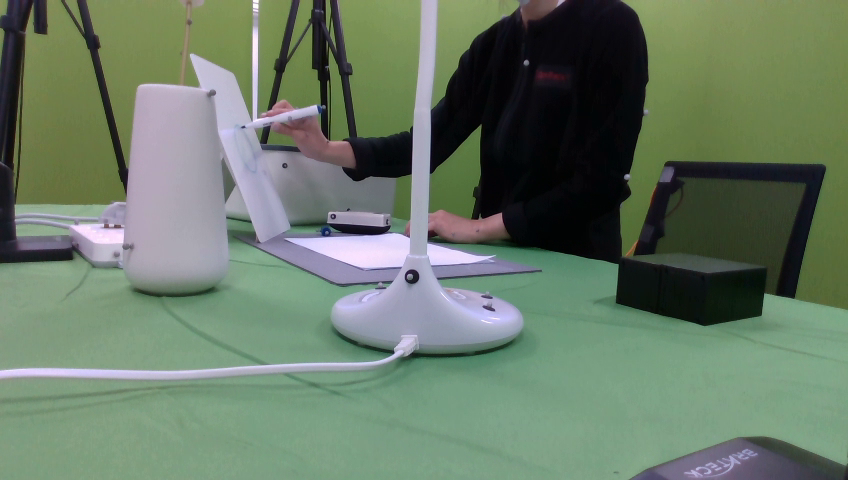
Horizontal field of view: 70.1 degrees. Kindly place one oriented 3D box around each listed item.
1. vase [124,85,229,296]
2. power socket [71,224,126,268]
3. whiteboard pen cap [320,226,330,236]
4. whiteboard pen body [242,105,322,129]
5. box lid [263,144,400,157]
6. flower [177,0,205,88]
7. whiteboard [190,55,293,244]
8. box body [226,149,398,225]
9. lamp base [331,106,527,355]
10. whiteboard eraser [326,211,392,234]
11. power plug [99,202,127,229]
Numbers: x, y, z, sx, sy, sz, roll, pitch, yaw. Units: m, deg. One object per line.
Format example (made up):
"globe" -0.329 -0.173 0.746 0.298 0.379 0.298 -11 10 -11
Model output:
"vase" -0.244 -0.047 0.598 0.098 0.200 0.098 3 8 0
"power socket" -0.409 0.004 0.793 0.072 0.032 0.225 -2 8 -37
"whiteboard pen cap" -0.176 -0.016 1.075 0.018 0.018 0.033 1 5 -13
"whiteboard pen body" -0.245 -0.210 1.042 0.141 0.017 0.017 -15 9 -4
"box lid" -0.263 -0.203 1.369 0.262 0.015 0.373 9 10 39
"flower" -0.243 -0.131 0.609 0.044 0.361 0.038 -5 -12 12
"whiteboard" -0.362 -0.129 1.029 0.144 0.305 0.217 -18 7 3
"box body" -0.265 -0.129 1.380 0.253 0.160 0.366 8 9 39
"lamp base" 0.006 -0.012 0.478 0.161 0.180 0.179 2 10 2
"whiteboard eraser" -0.121 -0.033 1.131 0.112 0.042 0.056 4 8 13
"power plug" -0.415 -0.026 0.848 0.073 0.052 0.035 6 5 -28
